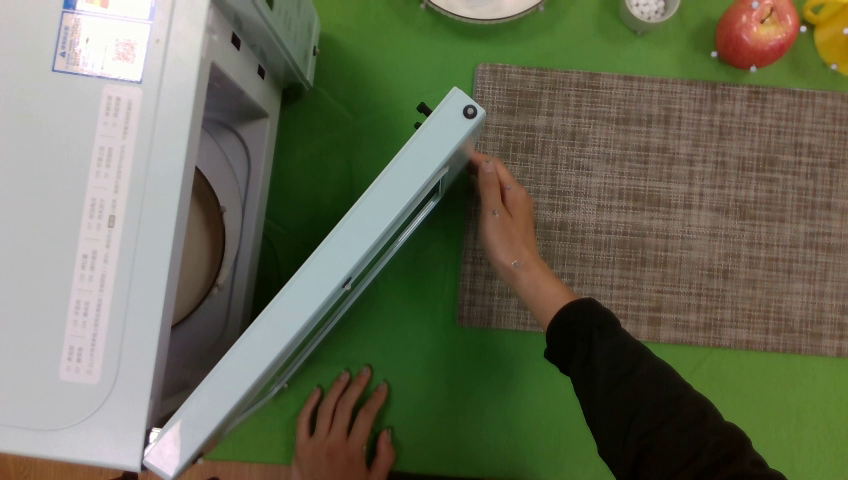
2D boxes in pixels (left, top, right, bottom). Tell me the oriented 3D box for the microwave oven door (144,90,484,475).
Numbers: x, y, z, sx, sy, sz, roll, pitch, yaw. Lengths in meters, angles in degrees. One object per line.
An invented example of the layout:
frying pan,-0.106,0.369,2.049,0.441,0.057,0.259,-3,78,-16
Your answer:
microwave oven door,-0.079,0.033,0.554,0.039,0.244,0.355,40,89,2

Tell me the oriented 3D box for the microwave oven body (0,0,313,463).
microwave oven body,-0.306,-0.068,0.559,0.326,0.260,0.441,7,89,0

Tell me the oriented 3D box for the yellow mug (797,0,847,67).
yellow mug,0.480,-0.252,0.666,0.131,0.064,0.100,16,88,1

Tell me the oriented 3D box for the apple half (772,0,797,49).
apple half,0.381,-0.246,0.661,0.033,0.081,0.081,-22,88,4

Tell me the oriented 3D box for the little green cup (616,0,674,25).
little green cup,0.246,-0.274,0.680,0.061,0.038,0.061,0,88,0

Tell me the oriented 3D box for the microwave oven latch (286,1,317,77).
microwave oven latch,-0.135,-0.221,0.659,0.030,0.029,0.079,10,89,0

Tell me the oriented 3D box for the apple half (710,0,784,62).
apple half,0.344,-0.231,0.662,0.053,0.074,0.081,-21,92,4

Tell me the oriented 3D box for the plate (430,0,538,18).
plate,0.067,-0.348,0.681,0.208,0.039,0.207,0,89,0

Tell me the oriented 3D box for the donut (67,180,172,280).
donut,-0.299,-0.010,0.597,0.099,0.048,0.099,0,88,0
